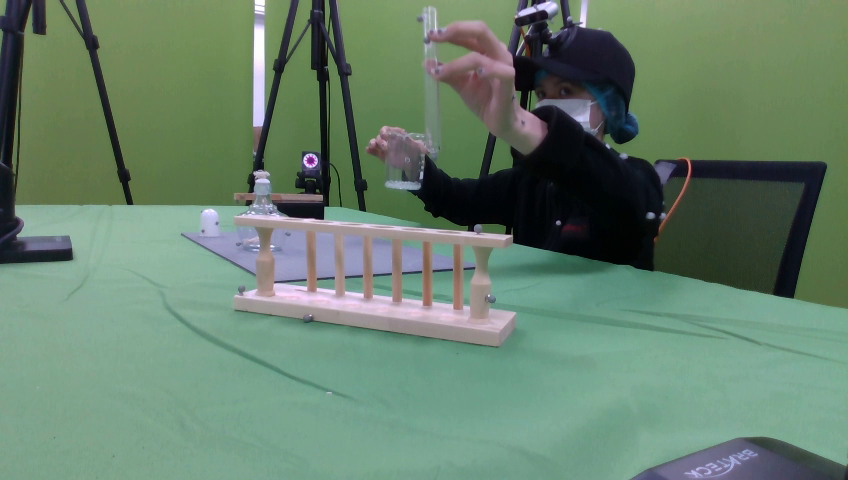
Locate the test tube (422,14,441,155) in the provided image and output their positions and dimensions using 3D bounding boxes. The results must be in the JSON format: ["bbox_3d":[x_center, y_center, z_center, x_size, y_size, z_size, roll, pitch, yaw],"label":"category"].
[{"bbox_3d":[0.008,-0.159,0.618,0.017,0.150,0.017,-1,-9,0],"label":"test tube"}]

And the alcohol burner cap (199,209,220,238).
[{"bbox_3d":[-0.356,-0.027,1.002,0.034,0.048,0.034,2,7,0],"label":"alcohol burner cap"}]

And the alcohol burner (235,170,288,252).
[{"bbox_3d":[-0.236,-0.042,0.882,0.078,0.119,0.078,2,9,0],"label":"alcohol burner"}]

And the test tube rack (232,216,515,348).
[{"bbox_3d":[-0.045,0.029,0.526,0.241,0.085,0.067,5,7,19],"label":"test tube rack"}]

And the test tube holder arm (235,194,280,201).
[{"bbox_3d":[-0.336,-0.086,1.221,0.088,0.015,0.010,-1,16,-29],"label":"test tube holder arm"}]

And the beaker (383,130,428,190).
[{"bbox_3d":[-0.035,-0.141,1.078,0.074,0.100,0.084,6,8,3],"label":"beaker"}]

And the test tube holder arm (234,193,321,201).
[{"bbox_3d":[-0.299,-0.088,1.248,0.179,0.015,0.013,-1,16,-30],"label":"test tube holder arm"}]
